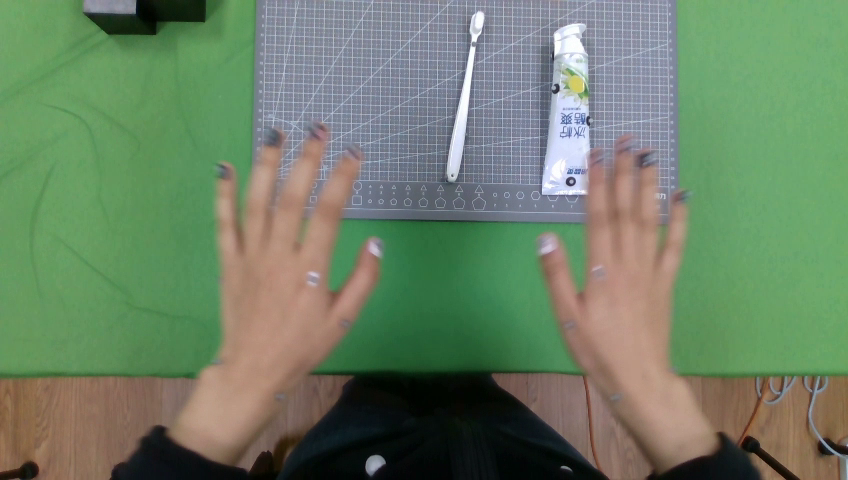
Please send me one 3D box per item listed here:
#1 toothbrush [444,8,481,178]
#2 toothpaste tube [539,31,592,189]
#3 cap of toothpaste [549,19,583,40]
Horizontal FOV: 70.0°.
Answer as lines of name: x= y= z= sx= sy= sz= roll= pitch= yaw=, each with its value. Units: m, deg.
toothbrush: x=0.041 y=-0.155 z=0.635 sx=0.014 sy=0.016 sz=0.181 roll=10 pitch=88 yaw=-18
toothpaste tube: x=0.148 y=-0.137 z=0.635 sx=0.055 sy=0.034 sz=0.165 roll=-1 pitch=91 yaw=4
cap of toothpaste: x=0.149 y=-0.219 z=0.633 sx=0.037 sy=0.037 sz=0.011 roll=-12 pitch=85 yaw=-4
